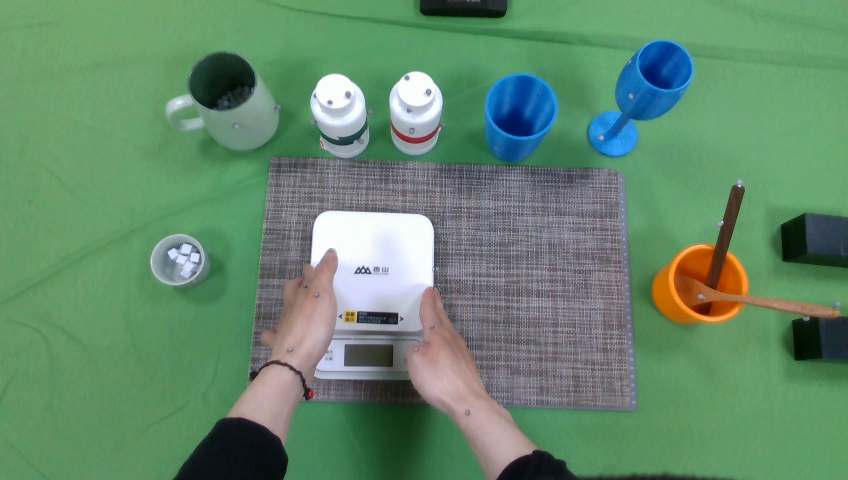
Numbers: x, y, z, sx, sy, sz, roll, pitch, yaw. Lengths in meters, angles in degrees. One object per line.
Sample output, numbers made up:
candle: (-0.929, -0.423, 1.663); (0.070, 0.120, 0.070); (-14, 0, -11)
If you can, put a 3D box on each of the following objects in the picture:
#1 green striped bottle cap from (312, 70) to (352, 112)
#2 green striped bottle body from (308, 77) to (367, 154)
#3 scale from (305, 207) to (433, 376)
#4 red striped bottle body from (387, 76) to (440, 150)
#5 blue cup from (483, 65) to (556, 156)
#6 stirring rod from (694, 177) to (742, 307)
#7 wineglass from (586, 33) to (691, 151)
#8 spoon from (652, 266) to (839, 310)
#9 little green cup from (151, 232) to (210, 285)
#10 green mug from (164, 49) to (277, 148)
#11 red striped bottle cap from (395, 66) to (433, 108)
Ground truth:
green striped bottle cap: (-0.103, -0.168, 0.679); (0.044, 0.020, 0.044); (1, 76, -2)
green striped bottle body: (-0.103, -0.154, 0.730); (0.063, 0.120, 0.063); (0, 75, -1)
scale: (-0.064, 0.059, 0.722); (0.149, 0.031, 0.200); (1, 77, -2)
red striped bottle body: (-0.014, -0.160, 0.735); (0.063, 0.120, 0.062); (1, 76, -3)
blue cup: (0.110, -0.149, 0.747); (0.092, 0.100, 0.092); (0, 76, 0)
stirring rod: (0.335, 0.008, 0.693); (0.014, 0.177, 0.006); (8, 35, 14)
wineglass: (0.248, -0.169, 0.720); (0.074, 0.173, 0.073); (0, 76, -1)
spoon: (0.352, 0.059, 0.682); (0.022, 0.192, 0.041); (21, 81, -41)
little green cup: (-0.287, 0.025, 0.721); (0.061, 0.039, 0.061); (1, 77, -3)
green mug: (-0.248, -0.164, 0.735); (0.125, 0.105, 0.092); (-20, 78, -6)
red striped bottle cap: (-0.011, -0.173, 0.684); (0.044, 0.018, 0.044); (0, 78, -2)
